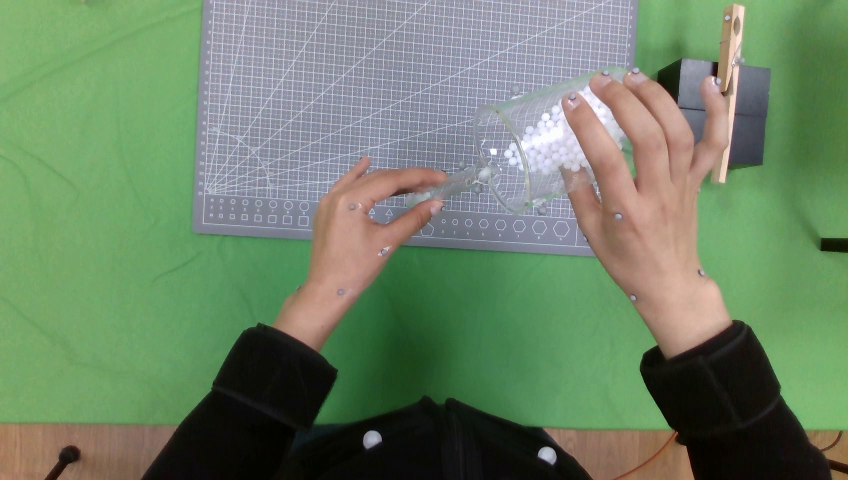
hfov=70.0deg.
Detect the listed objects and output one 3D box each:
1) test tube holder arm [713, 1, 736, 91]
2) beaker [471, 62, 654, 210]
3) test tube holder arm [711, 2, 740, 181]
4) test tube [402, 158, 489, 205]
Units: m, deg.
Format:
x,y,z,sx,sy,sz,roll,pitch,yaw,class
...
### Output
x,y,z,sx,sy,sz,roll,pitch,yaw,class
0.303,-0.195,0.613,0.010,0.015,0.088,2,93,-14,test tube holder arm
0.091,-0.070,0.402,0.100,0.084,0.074,-21,90,-13,beaker
0.307,-0.150,0.617,0.013,0.015,0.178,1,93,-14,test tube holder arm
0.013,-0.045,0.497,0.017,0.150,0.017,2,85,-22,test tube
